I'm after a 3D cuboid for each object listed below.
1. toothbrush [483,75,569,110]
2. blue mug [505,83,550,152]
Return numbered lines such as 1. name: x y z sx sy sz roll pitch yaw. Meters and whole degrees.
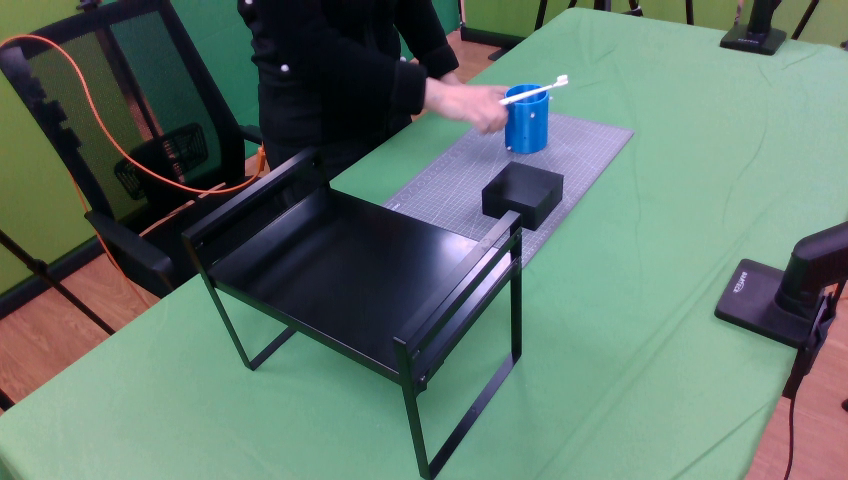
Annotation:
1. toothbrush: 0.188 -0.269 1.103 0.182 0.017 0.014 -21 48 -16
2. blue mug: 0.204 -0.243 1.160 0.082 0.106 0.116 14 46 24
